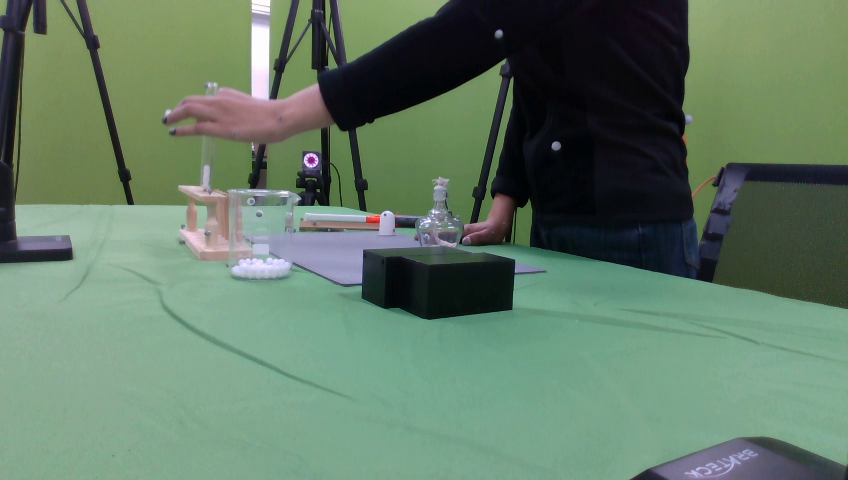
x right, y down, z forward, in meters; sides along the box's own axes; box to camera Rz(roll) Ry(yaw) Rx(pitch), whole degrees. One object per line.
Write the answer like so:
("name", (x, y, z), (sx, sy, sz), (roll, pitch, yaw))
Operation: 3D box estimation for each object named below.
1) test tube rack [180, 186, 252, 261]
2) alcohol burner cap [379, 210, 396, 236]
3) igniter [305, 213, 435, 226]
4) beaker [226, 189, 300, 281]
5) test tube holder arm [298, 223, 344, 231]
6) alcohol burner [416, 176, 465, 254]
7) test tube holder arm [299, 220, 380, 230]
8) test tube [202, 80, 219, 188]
("test tube rack", (-0.312, -0.031, 0.893), (0.067, 0.085, 0.241), (-1, 8, -27))
("alcohol burner cap", (-0.067, -0.032, 1.129), (0.034, 0.048, 0.034), (2, 8, 0))
("igniter", (-0.114, -0.046, 1.296), (0.277, 0.025, 0.057), (1, -2, -11))
("beaker", (-0.184, -0.007, 0.694), (0.084, 0.100, 0.073), (-1, 8, -29))
("test tube holder arm", (-0.197, -0.026, 1.162), (0.088, 0.015, 0.010), (0, -26, -19))
("alcohol burner", (0.025, -0.040, 0.935), (0.078, 0.119, 0.078), (1, 6, 0))
("test tube holder arm", (-0.153, -0.028, 1.173), (0.179, 0.015, 0.013), (1, -26, -21))
("test tube", (-0.302, -0.149, 0.855), (0.017, 0.150, 0.017), (7, 9, -1))
